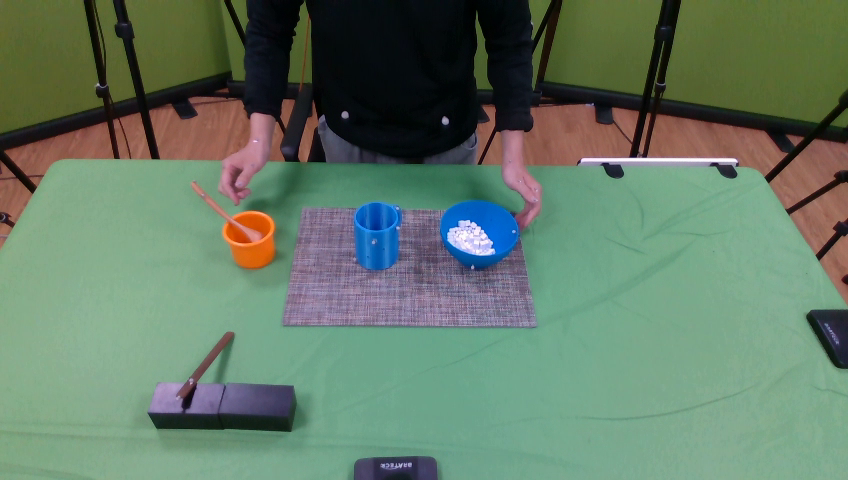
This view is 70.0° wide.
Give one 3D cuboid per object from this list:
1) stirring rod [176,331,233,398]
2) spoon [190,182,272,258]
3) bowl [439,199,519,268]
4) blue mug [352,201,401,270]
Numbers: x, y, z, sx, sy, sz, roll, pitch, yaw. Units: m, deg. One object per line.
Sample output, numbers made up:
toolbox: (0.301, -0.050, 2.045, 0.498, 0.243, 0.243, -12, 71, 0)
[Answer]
stirring rod: (-0.342, 0.192, 0.955, 0.014, 0.006, 0.175, 3, 24, 7)
spoon: (-0.353, -0.037, 1.111, 0.194, 0.021, 0.041, 42, 38, -20)
bowl: (0.100, 0.000, 1.160, 0.151, 0.077, 0.150, 2, 46, -2)
blue mug: (-0.082, -0.017, 1.144, 0.082, 0.106, 0.116, 30, 51, 22)
